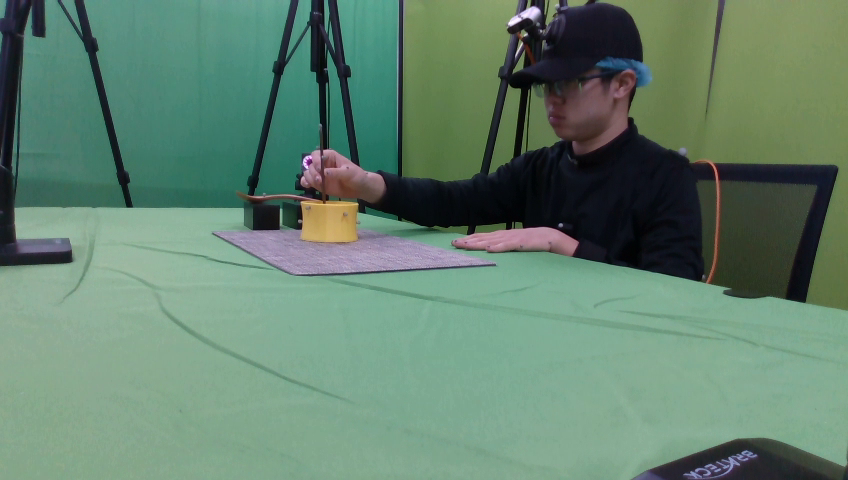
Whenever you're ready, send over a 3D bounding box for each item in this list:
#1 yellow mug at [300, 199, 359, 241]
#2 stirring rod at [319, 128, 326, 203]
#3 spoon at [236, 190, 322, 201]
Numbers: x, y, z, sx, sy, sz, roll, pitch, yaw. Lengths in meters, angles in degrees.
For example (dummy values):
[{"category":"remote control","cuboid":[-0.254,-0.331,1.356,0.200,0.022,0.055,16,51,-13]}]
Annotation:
[{"category":"yellow mug","cuboid":[-0.156,-0.037,1.060,0.099,0.064,0.131,6,7,27]},{"category":"stirring rod","cuboid":[-0.172,-0.101,1.027,0.006,0.176,0.014,-1,13,-2]},{"category":"spoon","cuboid":[-0.290,-0.088,1.248,0.195,0.021,0.041,0,6,-32]}]
